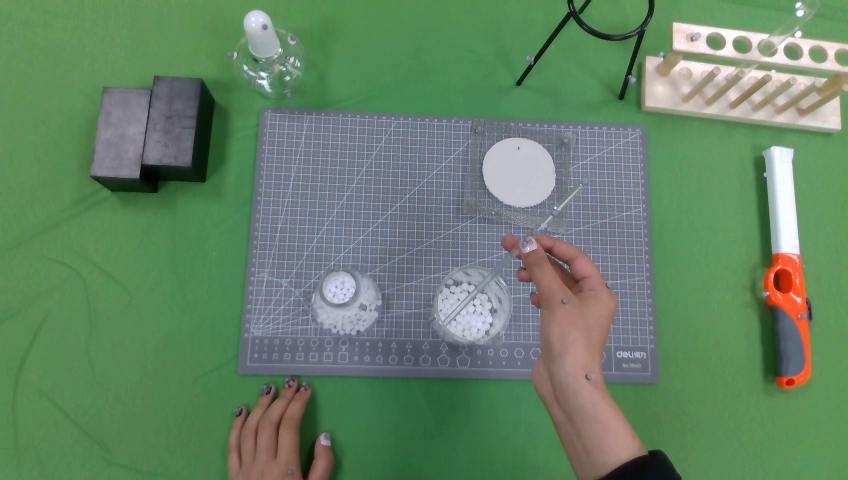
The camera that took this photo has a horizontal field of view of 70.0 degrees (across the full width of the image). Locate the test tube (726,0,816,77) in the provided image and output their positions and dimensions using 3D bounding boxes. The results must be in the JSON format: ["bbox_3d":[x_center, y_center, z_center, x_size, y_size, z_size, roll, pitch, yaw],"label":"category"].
[{"bbox_3d":[0.369,-0.215,0.654,0.017,0.151,0.017,0,77,-1],"label":"test tube"}]

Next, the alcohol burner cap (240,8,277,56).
[{"bbox_3d":[-0.169,-0.215,0.615,0.034,0.048,0.033,2,72,-4],"label":"alcohol burner cap"}]

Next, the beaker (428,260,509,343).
[{"bbox_3d":[0.042,0.069,0.613,0.074,0.100,0.083,-34,82,-9],"label":"beaker"}]

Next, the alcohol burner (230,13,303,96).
[{"bbox_3d":[-0.172,-0.205,0.650,0.078,0.119,0.077,0,79,-2],"label":"alcohol burner"}]

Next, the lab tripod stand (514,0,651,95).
[{"bbox_3d":[0.178,-0.230,0.670,0.148,0.132,0.148,1,80,-3],"label":"lab tripod stand"}]

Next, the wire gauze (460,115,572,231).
[{"bbox_3d":[0.107,-0.080,0.695,0.125,0.011,0.121,10,78,-5],"label":"wire gauze"}]

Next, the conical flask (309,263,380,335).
[{"bbox_3d":[-0.081,0.053,0.596,0.075,0.122,0.075,1,78,-4],"label":"conical flask"}]

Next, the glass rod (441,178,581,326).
[{"bbox_3d":[0.069,0.018,0.524,0.008,0.200,0.008,24,37,-20],"label":"glass rod"}]

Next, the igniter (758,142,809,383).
[{"bbox_3d":[0.406,0.022,0.688,0.057,0.025,0.275,6,78,-12],"label":"igniter"}]

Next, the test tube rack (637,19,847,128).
[{"bbox_3d":[0.382,-0.189,0.700,0.242,0.085,0.066,6,77,-3],"label":"test tube rack"}]
